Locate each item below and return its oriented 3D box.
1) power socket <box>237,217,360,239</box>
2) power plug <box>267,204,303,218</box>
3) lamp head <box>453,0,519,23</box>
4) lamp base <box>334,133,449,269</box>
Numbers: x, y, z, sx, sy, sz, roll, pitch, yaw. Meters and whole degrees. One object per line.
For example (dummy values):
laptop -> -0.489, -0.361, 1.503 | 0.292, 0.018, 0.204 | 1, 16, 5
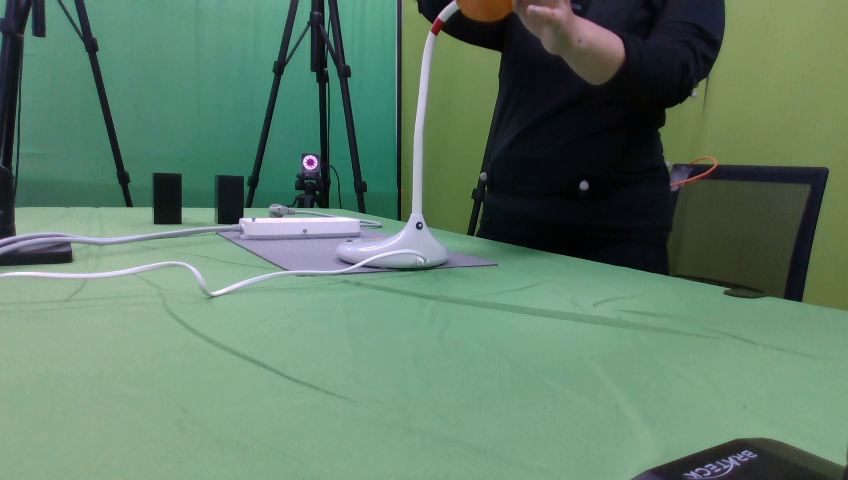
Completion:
power socket -> -0.221, -0.023, 1.080 | 0.228, 0.032, 0.072 | -2, 8, -32
power plug -> -0.327, -0.060, 1.404 | 0.073, 0.035, 0.052 | 22, -14, -26
lamp head -> 0.071, -0.319, 0.704 | 0.112, 0.122, 0.112 | 8, -2, 1
lamp base -> -0.034, -0.057, 0.831 | 0.161, 0.180, 0.178 | -3, 12, -36
